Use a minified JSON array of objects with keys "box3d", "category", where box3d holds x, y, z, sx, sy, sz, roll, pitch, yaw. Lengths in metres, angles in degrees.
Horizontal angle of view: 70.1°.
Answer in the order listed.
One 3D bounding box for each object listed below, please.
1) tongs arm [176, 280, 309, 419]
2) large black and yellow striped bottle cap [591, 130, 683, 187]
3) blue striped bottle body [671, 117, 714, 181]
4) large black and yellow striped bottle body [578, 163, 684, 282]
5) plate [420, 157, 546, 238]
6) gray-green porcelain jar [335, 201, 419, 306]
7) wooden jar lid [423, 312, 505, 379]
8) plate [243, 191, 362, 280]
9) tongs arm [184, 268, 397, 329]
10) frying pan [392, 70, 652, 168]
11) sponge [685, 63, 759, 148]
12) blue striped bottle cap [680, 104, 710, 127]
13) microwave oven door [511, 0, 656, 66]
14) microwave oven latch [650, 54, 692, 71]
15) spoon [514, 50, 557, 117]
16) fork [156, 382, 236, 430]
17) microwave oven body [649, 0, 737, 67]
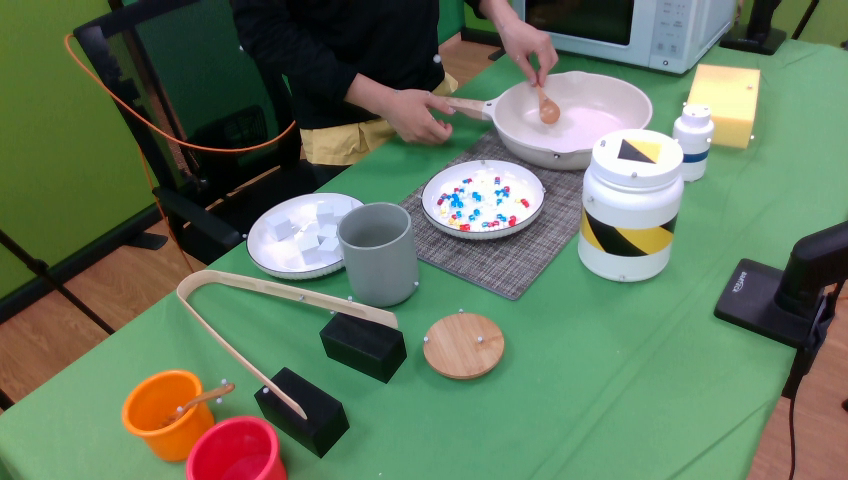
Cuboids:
[{"box3d":[-0.254,0.133,0.801,0.028,0.028,0.384,-41,41,-23],"category":"tongs arm"},{"box3d":[0.282,-0.111,0.803,0.115,0.019,0.114,-3,41,3],"category":"large black and yellow striped bottle cap"},{"box3d":[0.449,-0.165,1.022,0.063,0.121,0.063,-5,41,4],"category":"blue striped bottle body"},{"box3d":[0.291,-0.046,0.859,0.131,0.185,0.130,-4,41,4],"category":"large black and yellow striped bottle body"},{"box3d":[0.099,-0.067,1.017,0.209,0.038,0.208,-4,40,4],"category":"plate"},{"box3d":[-0.064,0.024,0.872,0.106,0.127,0.105,-4,41,4],"category":"gray-green porcelain jar"},{"box3d":[0.053,0.142,0.800,0.108,0.021,0.108,-5,39,4],"category":"wooden jar lid"},{"box3d":[-0.188,-0.005,0.992,0.207,0.039,0.206,-4,40,4],"category":"plate"},{"box3d":[-0.202,0.084,0.848,0.382,0.027,0.051,11,45,35],"category":"tongs arm"},{"box3d":[0.176,-0.248,1.165,0.487,0.103,0.306,12,42,9],"category":"frying pan"},{"box3d":[0.569,-0.263,1.164,0.117,0.061,0.207,12,45,22],"category":"sponge"},{"box3d":[0.443,-0.205,0.989,0.044,0.021,0.044,-1,41,2],"category":"blue striped bottle cap"},{"box3d":[0.351,-0.540,1.350,0.353,0.245,0.039,24,50,31],"category":"microwave oven door"},{"box3d":[0.531,-0.386,1.301,0.078,0.029,0.030,24,50,32],"category":"microwave oven latch"},{"box3d":[0.221,-0.314,1.207,0.021,0.042,0.192,-29,59,21],"category":"spoon"},{"box3d":[-0.262,0.189,0.690,0.018,0.206,0.028,49,43,-7],"category":"fork"},{"box3d":[0.475,-0.602,1.411,0.438,0.261,0.327,23,50,32],"category":"microwave oven body"}]
